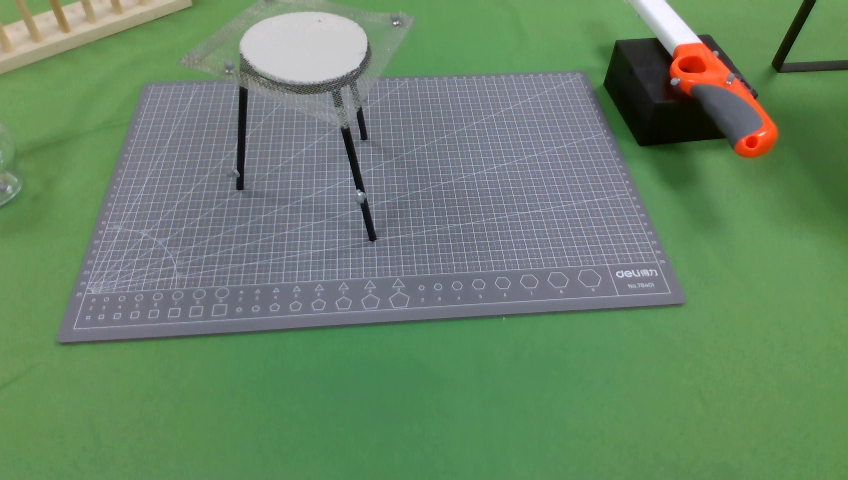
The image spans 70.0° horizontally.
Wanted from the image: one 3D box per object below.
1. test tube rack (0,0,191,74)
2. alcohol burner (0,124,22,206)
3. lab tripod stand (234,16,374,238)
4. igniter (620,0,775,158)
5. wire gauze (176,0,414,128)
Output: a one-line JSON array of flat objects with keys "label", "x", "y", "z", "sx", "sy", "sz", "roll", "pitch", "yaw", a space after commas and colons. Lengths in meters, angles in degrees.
[{"label": "test tube rack", "x": -0.381, "y": -0.257, "z": 0.632, "sx": 0.242, "sy": 0.086, "sz": 0.066, "roll": -34, "pitch": 59, "yaw": -27}, {"label": "alcohol burner", "x": -0.365, "y": -0.077, "z": 0.462, "sx": 0.078, "sy": 0.120, "sz": 0.077, "roll": 0, "pitch": 52, "yaw": 0}, {"label": "lab tripod stand", "x": -0.081, "y": -0.088, "z": 0.467, "sx": 0.148, "sy": 0.132, "sz": 0.147, "roll": 3, "pitch": 50, "yaw": -3}, {"label": "igniter", "x": 0.244, "y": -0.169, "z": 0.561, "sx": 0.057, "sy": 0.025, "sz": 0.273, "roll": -7, "pitch": 48, "yaw": -4}, {"label": "wire gauze", "x": -0.084, "y": -0.133, "z": 0.416, "sx": 0.124, "sy": 0.011, "sz": 0.121, "roll": 19, "pitch": 52, "yaw": 11}]
